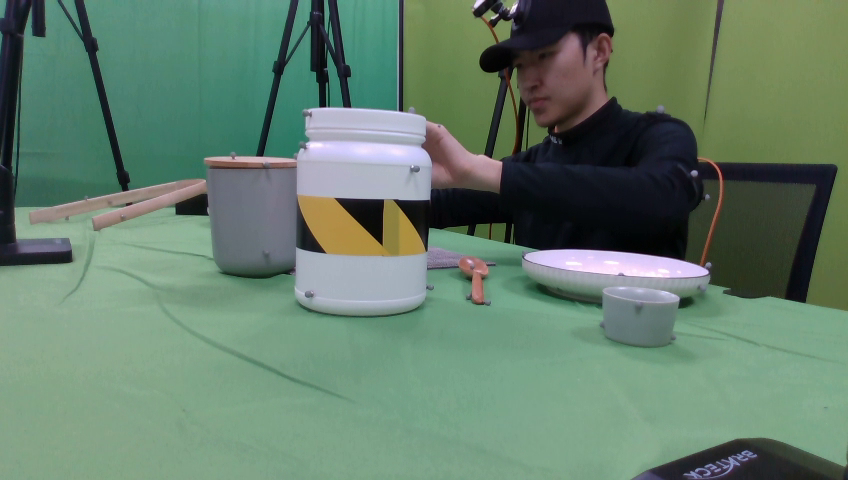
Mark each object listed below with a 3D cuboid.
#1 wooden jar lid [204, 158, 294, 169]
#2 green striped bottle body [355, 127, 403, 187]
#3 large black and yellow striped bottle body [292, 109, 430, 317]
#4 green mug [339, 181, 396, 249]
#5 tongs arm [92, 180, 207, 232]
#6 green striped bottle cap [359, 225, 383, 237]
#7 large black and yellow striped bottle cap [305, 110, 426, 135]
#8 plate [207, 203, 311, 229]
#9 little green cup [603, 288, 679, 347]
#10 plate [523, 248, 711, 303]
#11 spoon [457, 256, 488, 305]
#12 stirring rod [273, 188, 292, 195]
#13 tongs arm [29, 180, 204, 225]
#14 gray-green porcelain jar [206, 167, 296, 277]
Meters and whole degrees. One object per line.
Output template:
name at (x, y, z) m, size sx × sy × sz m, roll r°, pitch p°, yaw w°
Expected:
wooden jar lid at (-0.202, -0.086, 0.714) m, size 0.108 × 0.020 × 0.108 m, roll 3°, pitch 11°, yaw 0°
green striped bottle body at (-0.069, -0.117, 0.894) m, size 0.063 × 0.063 × 0.119 m, roll 1°, pitch -11°, yaw -10°
large black and yellow striped bottle body at (-0.060, -0.028, 0.585) m, size 0.131 × 0.184 × 0.130 m, roll 3°, pitch 7°, yaw 0°
green mug at (-0.097, -0.044, 0.995) m, size 0.093 × 0.105 × 0.125 m, roll -1°, pitch 8°, yaw -22°
tongs arm at (-0.534, -0.076, 1.221) m, size 0.028 × 0.028 × 0.388 m, roll -2°, pitch 15°, yaw 12°
green striped bottle cap at (-0.101, -0.016, 1.138) m, size 0.044 × 0.020 × 0.044 m, roll -3°, pitch 8°, yaw 1°
large black and yellow striped bottle cap at (-0.055, -0.110, 0.574) m, size 0.115 × 0.019 × 0.115 m, roll 1°, pitch 7°, yaw 0°
plate at (-0.342, -0.050, 1.259) m, size 0.208 × 0.039 × 0.207 m, roll 3°, pitch 7°, yaw 0°
little green cup at (0.180, 0.064, 0.505) m, size 0.061 × 0.038 × 0.061 m, roll 2°, pitch 7°, yaw 0°
plate at (0.219, 0.041, 0.706) m, size 0.209 × 0.038 × 0.209 m, roll 2°, pitch 7°, yaw 0°
spoon at (0.059, 0.044, 0.696) m, size 0.041 × 0.021 × 0.193 m, roll 22°, pitch 7°, yaw 0°
stirring rod at (-0.354, -0.122, 1.519) m, size 0.006 × 0.014 × 0.176 m, roll 2°, pitch 6°, yaw 1°
tongs arm at (-0.609, -0.083, 1.245) m, size 0.050 × 0.026 × 0.386 m, roll 5°, pitch 16°, yaw 23°
gray-green porcelain jar at (-0.201, -0.024, 0.724) m, size 0.106 × 0.126 × 0.106 m, roll -1°, pitch 9°, yaw 1°
